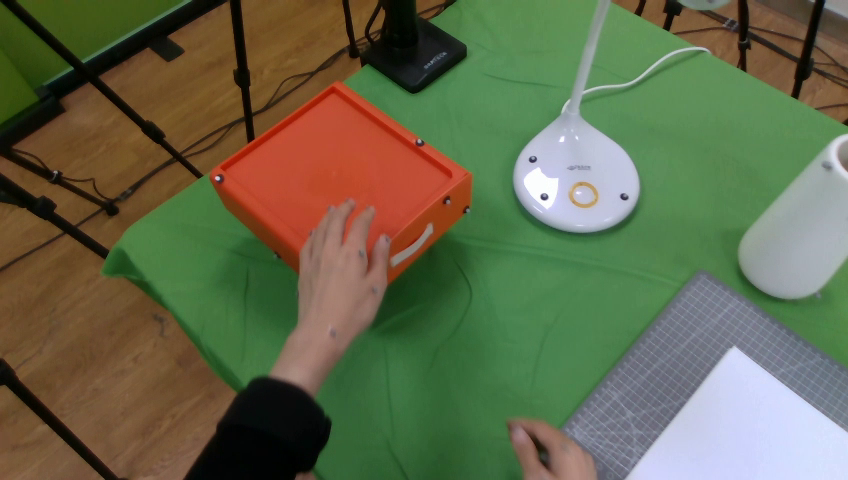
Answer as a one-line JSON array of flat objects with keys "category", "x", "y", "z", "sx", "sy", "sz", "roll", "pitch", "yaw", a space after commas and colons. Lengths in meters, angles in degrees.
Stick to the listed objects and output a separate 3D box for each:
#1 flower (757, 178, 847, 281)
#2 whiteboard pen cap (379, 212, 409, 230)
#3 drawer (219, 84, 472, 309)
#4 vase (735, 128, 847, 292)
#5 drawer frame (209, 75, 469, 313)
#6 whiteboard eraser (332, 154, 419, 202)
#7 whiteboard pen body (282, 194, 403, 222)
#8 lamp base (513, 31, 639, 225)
[{"category": "flower", "x": 0.421, "y": -0.078, "z": 0.567, "sx": 0.038, "sy": 0.364, "sz": 0.044, "roll": 27, "pitch": 45, "yaw": 10}, {"category": "whiteboard pen cap", "x": -0.034, "y": -0.022, "z": 0.685, "sx": 0.033, "sy": 0.018, "sz": 0.018, "roll": 11, "pitch": 59, "yaw": 5}, {"category": "drawer", "x": -0.086, "y": -0.059, "z": 0.683, "sx": 0.210, "sy": 0.074, "sz": 0.194, "roll": 38, "pitch": 67, "yaw": 22}, {"category": "vase", "x": 0.407, "y": -0.027, "z": 0.633, "sx": 0.098, "sy": 0.202, "sz": 0.097, "roll": -1, "pitch": 57, "yaw": 2}, {"category": "drawer frame", "x": -0.091, "y": -0.059, "z": 0.687, "sx": 0.212, "sy": 0.083, "sz": 0.201, "roll": 38, "pitch": 68, "yaw": 21}, {"category": "whiteboard eraser", "x": -0.057, "y": -0.074, "z": 0.735, "sx": 0.112, "sy": 0.042, "sz": 0.055, "roll": 6, "pitch": 64, "yaw": 41}, {"category": "whiteboard pen body", "x": -0.092, "y": -0.035, "z": 0.686, "sx": 0.140, "sy": 0.017, "sz": 0.017, "roll": 9, "pitch": 59, "yaw": 7}, {"category": "lamp base", "x": 0.189, "y": -0.138, "z": 0.718, "sx": 0.161, "sy": 0.182, "sz": 0.177, "roll": -10, "pitch": 56, "yaw": -5}]
